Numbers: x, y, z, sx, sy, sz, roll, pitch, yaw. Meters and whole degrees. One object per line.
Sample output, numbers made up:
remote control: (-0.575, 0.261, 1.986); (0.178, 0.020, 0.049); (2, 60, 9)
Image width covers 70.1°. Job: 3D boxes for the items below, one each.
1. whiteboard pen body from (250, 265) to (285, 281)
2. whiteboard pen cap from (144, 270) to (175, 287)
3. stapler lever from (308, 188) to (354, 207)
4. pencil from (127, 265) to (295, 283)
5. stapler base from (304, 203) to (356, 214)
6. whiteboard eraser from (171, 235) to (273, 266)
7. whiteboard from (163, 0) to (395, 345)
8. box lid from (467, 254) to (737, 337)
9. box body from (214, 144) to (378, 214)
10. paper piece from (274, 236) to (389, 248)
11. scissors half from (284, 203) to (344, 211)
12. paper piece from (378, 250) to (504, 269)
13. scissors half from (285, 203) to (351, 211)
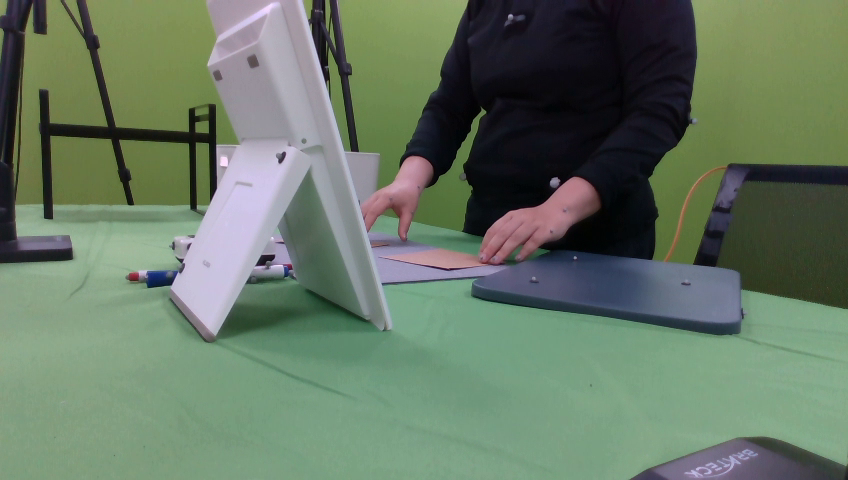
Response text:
whiteboard pen body: (-0.220, 0.039, 0.655); (0.141, 0.017, 0.017); (-2, 9, -31)
whiteboard pen cap: (-0.271, 0.039, 0.627); (0.033, 0.018, 0.018); (-3, 9, -33)
stapler lever: (-0.231, -0.106, 1.508); (0.119, 0.040, 0.026); (4, 9, -35)
pencil: (-0.232, 0.037, 0.691); (0.195, 0.012, 0.012); (-2, 9, -34)
stapler base: (-0.235, -0.081, 1.510); (0.131, 0.024, 0.041); (3, 9, -35)
whiteboard eraser: (-0.248, 0.014, 0.747); (0.113, 0.042, 0.055); (-1, 10, -32)
whiteboard: (-0.173, -0.053, 0.510); (0.144, 0.305, 0.216); (-23, 19, -26)
box lid: (0.234, 0.055, 0.736); (0.262, 0.015, 0.373); (6, 8, 26)
box body: (-0.328, -0.154, 1.543); (0.366, 0.160, 0.253); (-2, 9, -32)
paper piece: (-0.151, 0.003, 0.978); (0.135, 0.008, 0.139); (13, 10, 35)
scissors half: (-0.280, -0.083, 1.552); (0.176, 0.013, 0.040); (-10, 6, -44)
paper piece: (0.026, 0.026, 0.865); (0.134, 0.004, 0.136); (9, 9, 43)
scissors half: (-0.269, -0.081, 1.534); (0.176, 0.013, 0.040); (-7, 10, -24)
